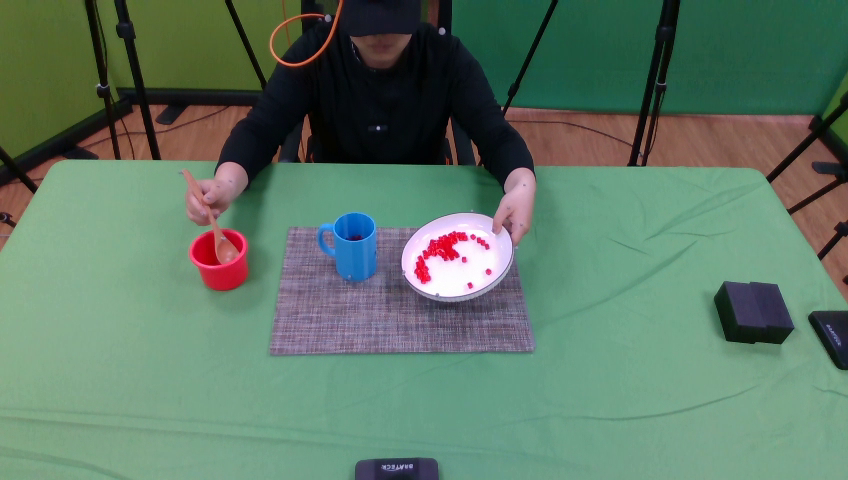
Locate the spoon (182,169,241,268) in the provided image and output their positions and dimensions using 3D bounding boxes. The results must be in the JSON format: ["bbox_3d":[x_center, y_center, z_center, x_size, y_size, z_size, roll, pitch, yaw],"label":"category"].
[{"bbox_3d":[-0.375,-0.037,1.069,0.021,0.194,0.041,-13,13,45],"label":"spoon"}]

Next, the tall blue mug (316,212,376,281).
[{"bbox_3d":[-0.142,0.014,1.109,0.107,0.108,0.077,-5,47,-8],"label":"tall blue mug"}]

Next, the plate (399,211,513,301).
[{"bbox_3d":[0.060,0.032,1.098,0.207,0.039,0.206,-9,45,9],"label":"plate"}]
